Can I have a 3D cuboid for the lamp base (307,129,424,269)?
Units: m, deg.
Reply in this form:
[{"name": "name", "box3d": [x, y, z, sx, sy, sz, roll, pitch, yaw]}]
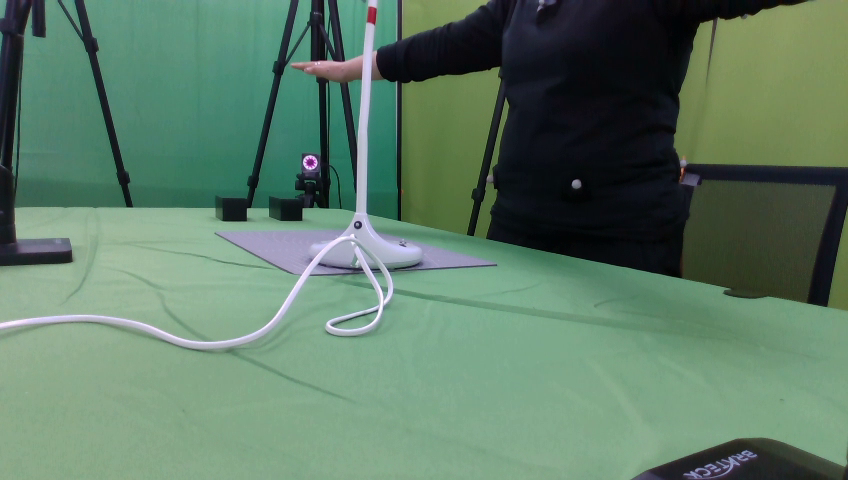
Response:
[{"name": "lamp base", "box3d": [-0.076, -0.057, 0.811, 0.161, 0.180, 0.179, 2, 10, -4]}]
